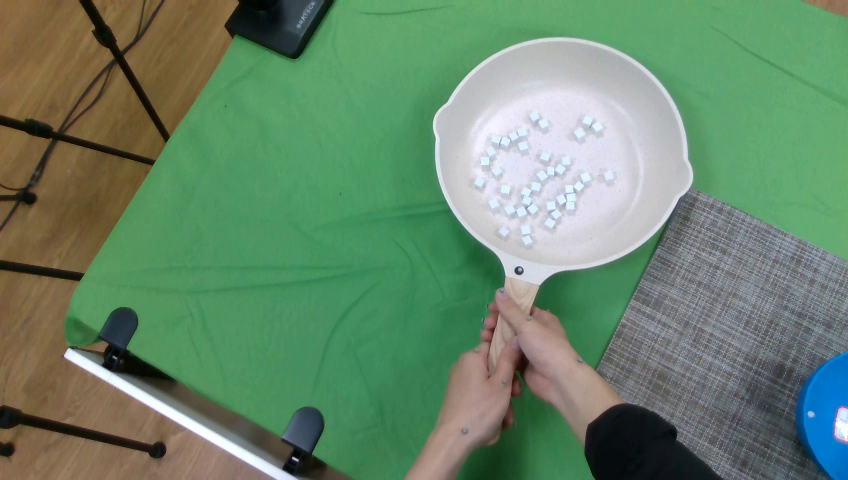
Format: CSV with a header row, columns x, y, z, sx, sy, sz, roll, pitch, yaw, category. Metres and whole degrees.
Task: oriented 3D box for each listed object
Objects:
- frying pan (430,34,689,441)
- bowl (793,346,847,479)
x,y,z,sx,sy,sz,roll,pitch,yaw,category
0.125,-0.013,0.702,0.306,0.103,0.485,16,70,9,frying pan
0.457,0.186,0.638,0.151,0.077,0.150,-1,76,4,bowl
